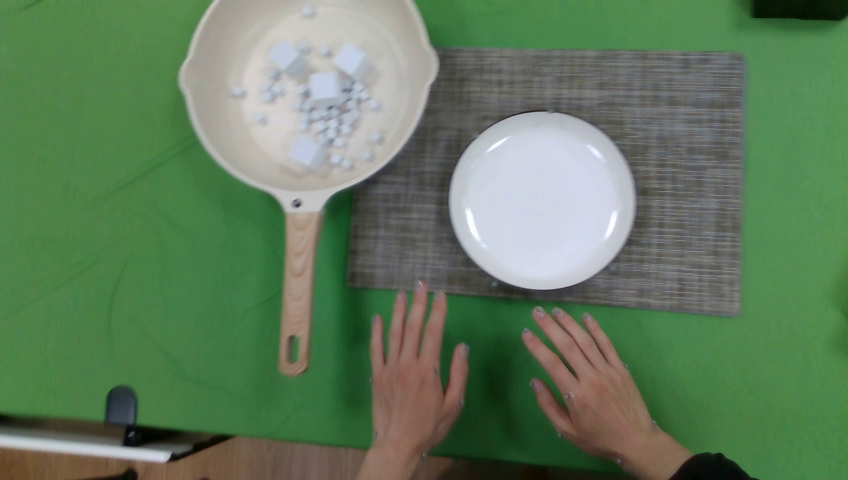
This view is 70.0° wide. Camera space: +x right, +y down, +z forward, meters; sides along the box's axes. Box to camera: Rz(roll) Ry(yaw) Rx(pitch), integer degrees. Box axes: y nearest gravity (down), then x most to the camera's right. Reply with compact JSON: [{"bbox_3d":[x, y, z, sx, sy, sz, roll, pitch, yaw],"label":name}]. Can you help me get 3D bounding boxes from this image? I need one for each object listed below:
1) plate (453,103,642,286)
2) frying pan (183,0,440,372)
[{"bbox_3d":[0.138,-0.050,0.693,0.207,0.039,0.207,-1,85,7],"label":"plate"},{"bbox_3d":[-0.133,-0.096,0.698,0.306,0.103,0.485,1,77,9],"label":"frying pan"}]
